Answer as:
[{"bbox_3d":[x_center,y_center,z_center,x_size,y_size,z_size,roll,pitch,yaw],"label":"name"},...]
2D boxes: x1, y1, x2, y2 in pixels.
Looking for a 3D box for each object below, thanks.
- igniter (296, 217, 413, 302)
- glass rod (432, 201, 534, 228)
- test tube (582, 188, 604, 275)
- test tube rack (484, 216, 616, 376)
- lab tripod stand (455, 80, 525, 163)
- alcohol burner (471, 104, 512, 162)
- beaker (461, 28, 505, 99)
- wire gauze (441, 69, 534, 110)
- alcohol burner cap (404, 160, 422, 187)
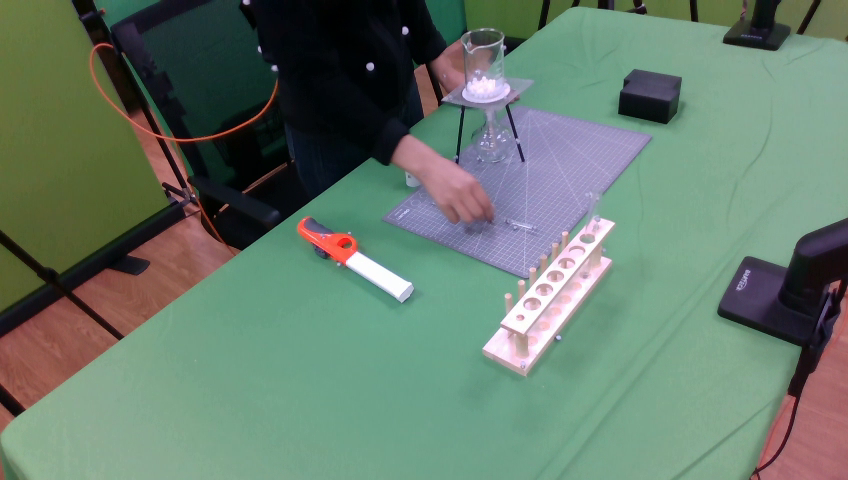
[{"bbox_3d":[-0.121,0.025,0.970,0.274,0.025,0.057,29,63,37],"label":"igniter"},{"bbox_3d":[0.096,-0.043,1.022,0.198,0.008,0.008,16,47,31],"label":"glass rod"},{"bbox_3d":[0.228,-0.007,0.821,0.017,0.151,0.017,-3,42,3],"label":"test tube"},{"bbox_3d":[0.174,0.064,0.823,0.066,0.085,0.243,23,49,32],"label":"test tube rack"},{"bbox_3d":[0.120,-0.220,1.126,0.148,0.132,0.147,-4,39,4],"label":"lab tripod stand"},{"bbox_3d":[0.124,-0.207,1.126,0.078,0.119,0.077,-5,43,5],"label":"alcohol burner"},{"bbox_3d":[0.103,-0.304,1.051,0.073,0.101,0.084,19,48,29],"label":"beaker"},{"bbox_3d":[0.114,-0.268,1.082,0.120,0.011,0.125,22,47,29],"label":"wire gauze"},{"bbox_3d":[-0.023,-0.125,1.118,0.034,0.048,0.033,-4,40,4],"label":"alcohol burner cap"}]
